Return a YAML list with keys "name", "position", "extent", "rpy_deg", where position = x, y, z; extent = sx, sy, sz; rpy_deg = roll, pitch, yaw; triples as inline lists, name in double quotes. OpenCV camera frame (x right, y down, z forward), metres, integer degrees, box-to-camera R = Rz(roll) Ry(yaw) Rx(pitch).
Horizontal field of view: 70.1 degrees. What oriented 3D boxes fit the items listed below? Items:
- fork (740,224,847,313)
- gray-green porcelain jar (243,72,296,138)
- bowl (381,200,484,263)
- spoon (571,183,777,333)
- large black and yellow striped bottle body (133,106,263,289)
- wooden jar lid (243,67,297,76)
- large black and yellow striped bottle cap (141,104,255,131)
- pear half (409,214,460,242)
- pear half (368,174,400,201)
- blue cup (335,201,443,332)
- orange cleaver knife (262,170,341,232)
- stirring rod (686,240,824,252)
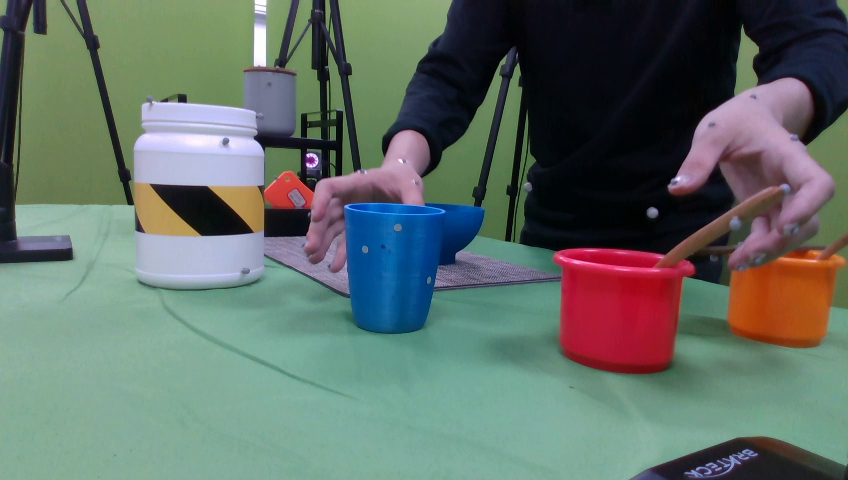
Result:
- name: "fork"
  position: [0.323, 0.013, 0.485]
  extent: [0.028, 0.018, 0.207]
  rpy_deg: [9, -37, -5]
- name: "gray-green porcelain jar"
  position: [-0.322, -0.279, 1.263]
  extent: [0.106, 0.126, 0.106]
  rpy_deg: [3, 8, 0]
- name: "bowl"
  position: [0.007, -0.012, 0.842]
  extent: [0.151, 0.077, 0.151]
  rpy_deg: [2, 7, 0]
- name: "spoon"
  position: [0.161, 0.020, 0.413]
  extent: [0.042, 0.021, 0.193]
  rpy_deg: [1, -37, -24]
- name: "large black and yellow striped bottle body"
  position: [-0.243, -0.048, 0.659]
  extent: [0.131, 0.184, 0.130]
  rpy_deg: [2, 7, 0]
- name: "wooden jar lid"
  position: [-0.319, -0.342, 1.254]
  extent: [0.108, 0.020, 0.108]
  rpy_deg: [3, 8, 0]
- name: "large black and yellow striped bottle cap"
  position: [-0.241, -0.131, 0.650]
  extent: [0.115, 0.019, 0.115]
  rpy_deg: [4, 8, 0]
- name: "pear half"
  position: [0.011, -0.019, 0.848]
  extent: [0.070, 0.031, 0.088]
  rpy_deg: [4, 11, 33]
- name: "pear half"
  position: [-0.064, -0.061, 1.077]
  extent: [0.055, 0.110, 0.077]
  rpy_deg: [9, 14, 39]
- name: "blue cup"
  position: [-0.028, 0.021, 0.507]
  extent: [0.093, 0.100, 0.092]
  rpy_deg: [2, 9, 0]
- name: "orange cleaver knife"
  position: [-0.201, -0.056, 1.136]
  extent: [0.212, 0.077, 0.012]
  rpy_deg: [31, -4, -31]
- name: "stirring rod"
  position: [0.290, 0.005, 0.525]
  extent: [0.177, 0.006, 0.014]
  rpy_deg: [-1, 6, -26]
